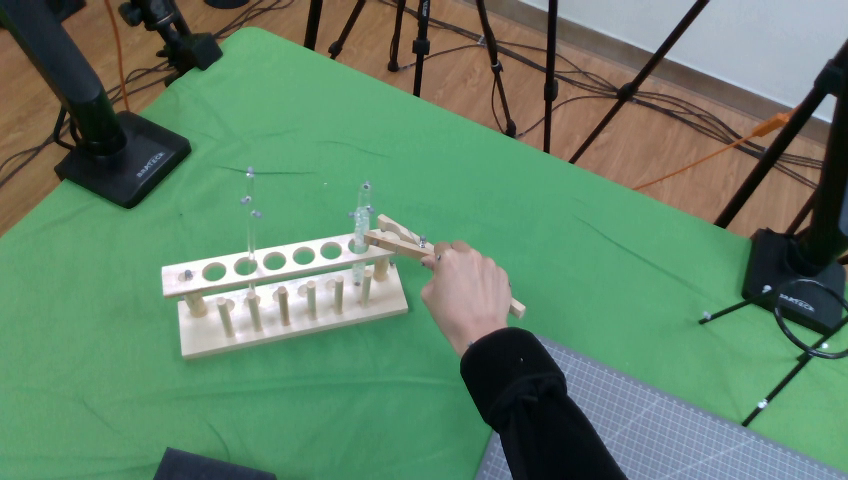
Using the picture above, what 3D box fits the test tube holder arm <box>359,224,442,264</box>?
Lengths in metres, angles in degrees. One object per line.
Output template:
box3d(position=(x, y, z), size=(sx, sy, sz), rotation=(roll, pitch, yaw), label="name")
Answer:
box3d(position=(-0.023, 0.004, 0.601), size=(0.087, 0.015, 0.010), rotation=(17, 46, 8), label="test tube holder arm")

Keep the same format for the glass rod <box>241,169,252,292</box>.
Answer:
box3d(position=(-0.175, 0.004, 0.598), size=(0.008, 0.201, 0.008), rotation=(8, 48, -8), label="glass rod")

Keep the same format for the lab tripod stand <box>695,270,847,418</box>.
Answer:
box3d(position=(0.382, 0.107, 0.658), size=(0.148, 0.132, 0.147), rotation=(4, 58, -6), label="lab tripod stand")

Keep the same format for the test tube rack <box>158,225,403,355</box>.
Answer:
box3d(position=(-0.145, 0.051, 0.651), size=(0.243, 0.086, 0.066), rotation=(-11, 59, -14), label="test tube rack")

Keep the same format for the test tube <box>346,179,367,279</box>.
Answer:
box3d(position=(-0.072, -0.006, 0.637), size=(0.017, 0.151, 0.017), rotation=(5, 50, -6), label="test tube")

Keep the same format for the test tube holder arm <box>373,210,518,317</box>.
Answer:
box3d(position=(0.017, 0.020, 0.592), size=(0.177, 0.015, 0.013), rotation=(33, 51, 21), label="test tube holder arm")
